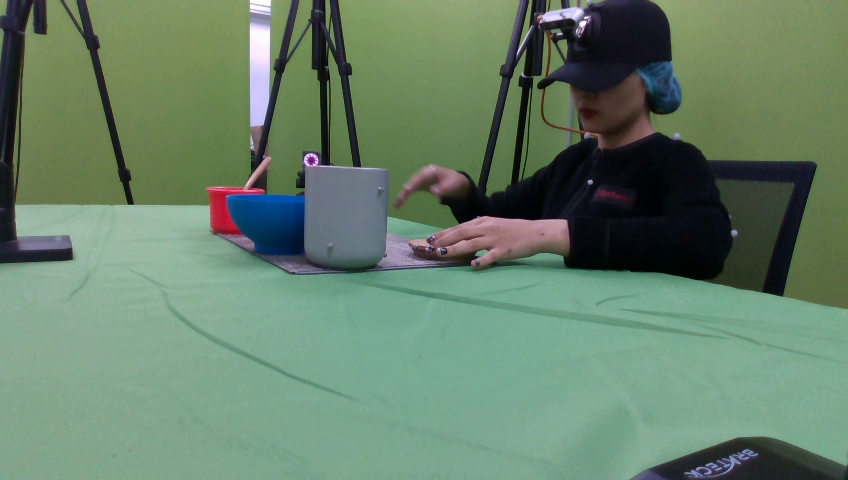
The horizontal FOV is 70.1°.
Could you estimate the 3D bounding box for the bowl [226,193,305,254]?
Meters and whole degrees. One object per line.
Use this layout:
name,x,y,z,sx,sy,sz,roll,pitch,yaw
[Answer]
bowl,-0.205,-0.024,0.866,0.151,0.077,0.151,3,7,0

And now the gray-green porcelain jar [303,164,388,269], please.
gray-green porcelain jar,-0.099,-0.031,0.770,0.106,0.126,0.106,2,7,0

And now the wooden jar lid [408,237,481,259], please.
wooden jar lid,0.031,0.012,0.895,0.108,0.020,0.108,3,8,0

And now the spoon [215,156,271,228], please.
spoon,-0.319,-0.090,1.091,0.041,0.022,0.193,7,52,17
